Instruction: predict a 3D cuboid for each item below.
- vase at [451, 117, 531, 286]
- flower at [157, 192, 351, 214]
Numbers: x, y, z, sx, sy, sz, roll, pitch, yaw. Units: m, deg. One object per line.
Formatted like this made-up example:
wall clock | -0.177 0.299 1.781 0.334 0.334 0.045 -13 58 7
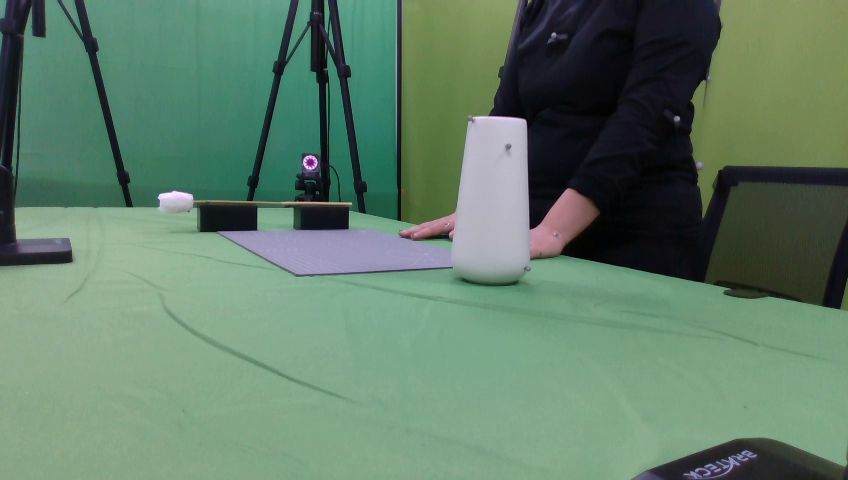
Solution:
vase | 0.083 -0.047 0.737 0.098 0.200 0.098 1 6 0
flower | -0.314 -0.076 1.161 0.363 0.038 0.044 -4 -21 -24
